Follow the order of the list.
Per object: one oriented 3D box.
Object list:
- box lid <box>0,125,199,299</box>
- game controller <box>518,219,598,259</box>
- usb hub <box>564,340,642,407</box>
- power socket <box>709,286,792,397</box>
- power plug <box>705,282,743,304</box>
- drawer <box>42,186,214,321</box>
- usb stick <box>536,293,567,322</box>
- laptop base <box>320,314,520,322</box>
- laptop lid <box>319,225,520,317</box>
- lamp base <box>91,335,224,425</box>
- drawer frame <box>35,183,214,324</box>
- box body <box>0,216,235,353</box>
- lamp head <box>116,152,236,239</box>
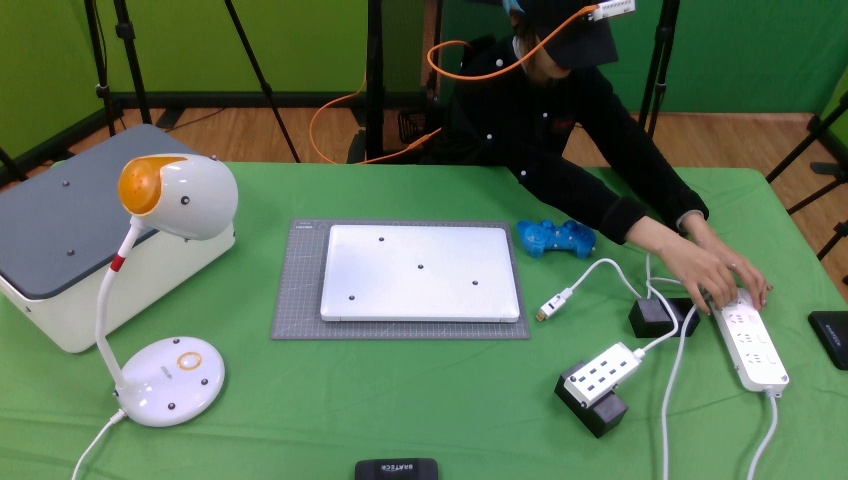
[{"bbox_3d":[-0.540,-0.068,1.016,0.262,0.015,0.371,30,51,23],"label":"box lid"},{"bbox_3d":[0.270,-0.012,1.210,0.155,0.052,0.096,1,50,-2],"label":"game controller"},{"bbox_3d":[0.280,0.206,0.944,0.125,0.025,0.049,-26,52,-27],"label":"usb hub"},{"bbox_3d":[0.568,0.167,1.064,0.072,0.033,0.225,2,46,-1],"label":"power socket"},{"bbox_3d":[0.538,0.097,1.098,0.072,0.053,0.035,8,47,8],"label":"power plug"},{"bbox_3d":[-0.529,0.018,1.097,0.194,0.073,0.211,29,53,20],"label":"drawer"},{"bbox_3d":[0.226,0.122,1.084,0.059,0.027,0.021,-38,72,-9],"label":"usb stick"},{"bbox_3d":[-0.008,0.062,1.138,0.354,0.023,0.234,1,42,-3],"label":"laptop base"},{"bbox_3d":[-0.008,0.052,1.131,0.357,0.013,0.240,2,44,-2],"label":"laptop lid"},{"bbox_3d":[-0.401,0.171,0.892,0.160,0.181,0.179,30,53,23],"label":"lamp base"},{"bbox_3d":[-0.531,0.018,1.092,0.201,0.083,0.213,29,52,21],"label":"drawer frame"},{"bbox_3d":[-0.550,-0.006,1.067,0.253,0.161,0.363,30,51,23],"label":"box body"},{"bbox_3d":[-0.315,-0.057,0.747,0.112,0.112,0.123,26,10,20],"label":"lamp head"}]
